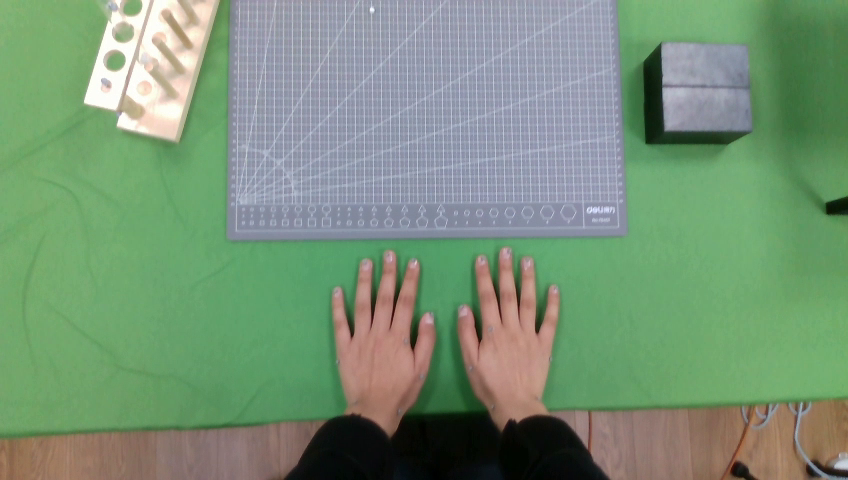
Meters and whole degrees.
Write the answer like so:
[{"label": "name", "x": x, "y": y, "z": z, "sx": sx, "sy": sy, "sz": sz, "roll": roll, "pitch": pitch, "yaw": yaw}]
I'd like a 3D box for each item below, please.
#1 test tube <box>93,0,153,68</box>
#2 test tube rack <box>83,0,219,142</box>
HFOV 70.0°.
[{"label": "test tube", "x": -0.299, "y": -0.213, "z": 0.595, "sx": 0.017, "sy": 0.151, "sz": 0.017, "roll": 1, "pitch": 75, "yaw": -4}, {"label": "test tube rack", "x": -0.277, "y": -0.239, "z": 0.649, "sx": 0.067, "sy": 0.085, "sz": 0.241, "roll": 14, "pitch": 83, "yaw": -2}]
